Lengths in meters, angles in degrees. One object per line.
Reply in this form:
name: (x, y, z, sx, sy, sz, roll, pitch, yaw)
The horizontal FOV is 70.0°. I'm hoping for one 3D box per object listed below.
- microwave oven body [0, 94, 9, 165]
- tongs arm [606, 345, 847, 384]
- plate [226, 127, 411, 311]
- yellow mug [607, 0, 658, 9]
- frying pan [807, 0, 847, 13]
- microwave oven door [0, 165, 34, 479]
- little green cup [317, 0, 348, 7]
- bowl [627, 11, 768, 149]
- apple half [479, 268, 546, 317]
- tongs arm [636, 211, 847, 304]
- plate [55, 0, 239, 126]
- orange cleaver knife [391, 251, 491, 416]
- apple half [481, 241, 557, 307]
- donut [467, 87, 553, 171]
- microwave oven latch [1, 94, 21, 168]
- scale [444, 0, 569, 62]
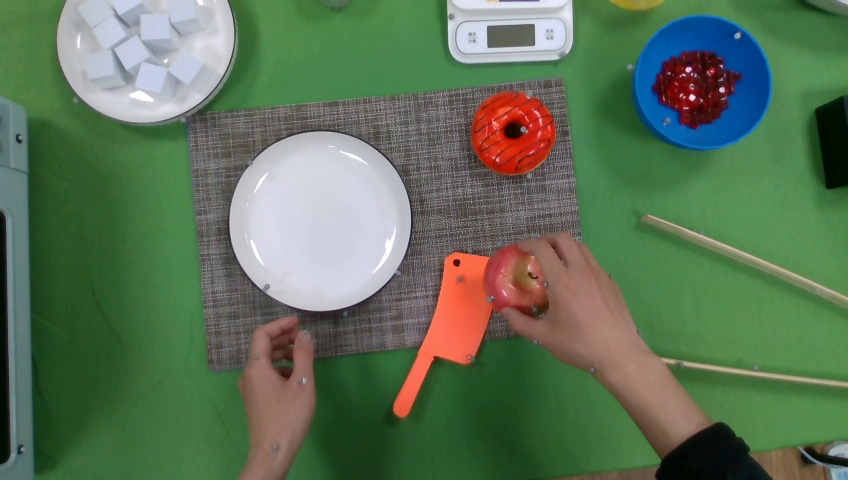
microwave oven body: (-0.612, 0.056, 0.576, 0.326, 0.260, 0.441, -4, 87, -1)
tongs arm: (0.405, 0.133, 0.694, 0.385, 0.026, 0.050, 9, 83, 0)
plate: (-0.118, -0.023, 0.696, 0.209, 0.038, 0.208, 0, 87, 0)
yellow mug: (0.243, -0.345, 0.708, 0.100, 0.064, 0.130, -39, 87, -2)
frying pan: (0.573, -0.314, 0.690, 0.307, 0.103, 0.485, -33, 79, -1)
microwave oven door: (-0.463, 0.089, 0.570, 0.039, 0.244, 0.355, -4, 86, 0)
little green cup: (-0.111, -0.309, 0.717, 0.061, 0.038, 0.061, 0, 86, 0)
bowl: (0.298, -0.171, 0.692, 0.151, 0.077, 0.151, 0, 87, 0)
apple half: (0.085, 0.062, 0.634, 0.081, 0.081, 0.032, 30, 79, 2)
tongs arm: (0.427, 0.050, 0.701, 0.387, 0.028, 0.028, 24, 80, 2)
plate: (-0.319, -0.233, 0.711, 0.208, 0.039, 0.207, 0, 86, 0)
orange cleaver knife: (0.027, 0.108, 0.697, 0.077, 0.012, 0.211, 23, 84, -5)
apple half: (0.105, 0.030, 0.641, 0.080, 0.075, 0.053, 29, 79, 5)
donut: (0.099, -0.128, 0.701, 0.099, 0.048, 0.099, 0, 87, 1)
microwave oven latch: (-0.475, -0.122, 0.684, 0.030, 0.029, 0.079, -1, 87, -1)
scale: (0.097, -0.316, 0.722, 0.149, 0.031, 0.200, -2, 87, 0)
